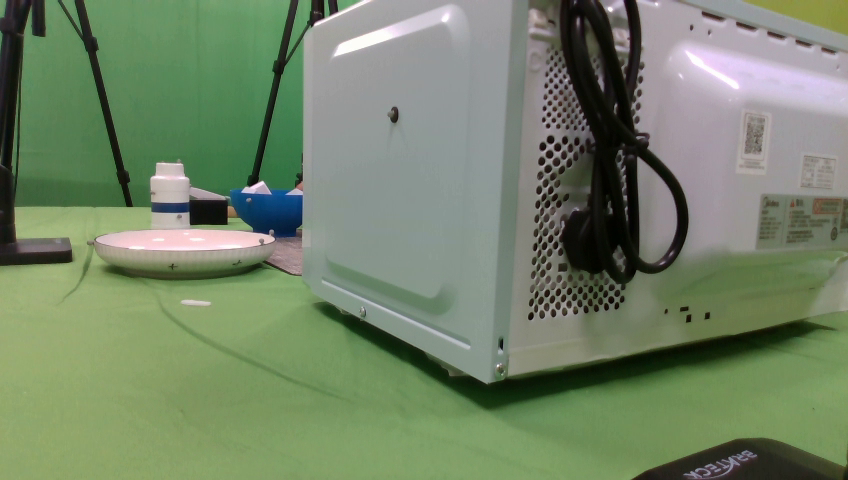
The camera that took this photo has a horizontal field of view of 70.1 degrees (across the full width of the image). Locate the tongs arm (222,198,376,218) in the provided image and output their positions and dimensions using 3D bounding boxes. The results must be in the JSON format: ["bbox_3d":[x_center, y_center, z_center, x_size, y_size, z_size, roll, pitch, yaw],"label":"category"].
[{"bbox_3d":[-0.309,-0.079,1.487,0.385,0.026,0.050,3,7,-2],"label":"tongs arm"}]

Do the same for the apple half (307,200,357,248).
[{"bbox_3d":[-0.136,-0.024,0.942,0.053,0.074,0.081,15,10,38],"label":"apple half"}]

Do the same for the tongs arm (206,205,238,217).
[{"bbox_3d":[-0.302,-0.065,1.407,0.389,0.028,0.028,1,4,-14],"label":"tongs arm"}]

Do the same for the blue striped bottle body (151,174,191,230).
[{"bbox_3d":[-0.439,-0.071,1.052,0.063,0.120,0.063,2,7,0],"label":"blue striped bottle body"}]

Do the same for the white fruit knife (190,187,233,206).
[{"bbox_3d":[-0.413,-0.081,1.270,0.208,0.027,0.016,17,13,-41],"label":"white fruit knife"}]

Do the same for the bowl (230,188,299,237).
[{"bbox_3d":[-0.265,-0.048,1.066,0.151,0.077,0.151,3,8,0],"label":"bowl"}]

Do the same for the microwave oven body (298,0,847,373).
[{"bbox_3d":[0.151,-0.055,0.543,0.444,0.260,0.324,-1,7,-33],"label":"microwave oven body"}]

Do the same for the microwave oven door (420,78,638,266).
[{"bbox_3d":[0.134,-0.105,0.895,0.354,0.243,0.039,9,10,44],"label":"microwave oven door"}]

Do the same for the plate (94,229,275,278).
[{"bbox_3d":[-0.291,0.016,0.750,0.208,0.039,0.207,2,7,0],"label":"plate"}]

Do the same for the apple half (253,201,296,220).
[{"bbox_3d":[-0.264,-0.053,1.066,0.081,0.033,0.081,2,8,0],"label":"apple half"}]

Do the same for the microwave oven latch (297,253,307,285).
[{"bbox_3d":[-0.082,0.027,0.582,0.079,0.029,0.030,-1,7,-32],"label":"microwave oven latch"}]

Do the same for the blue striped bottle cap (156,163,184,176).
[{"bbox_3d":[-0.438,-0.122,1.045,0.044,0.020,0.044,5,6,0],"label":"blue striped bottle cap"}]
